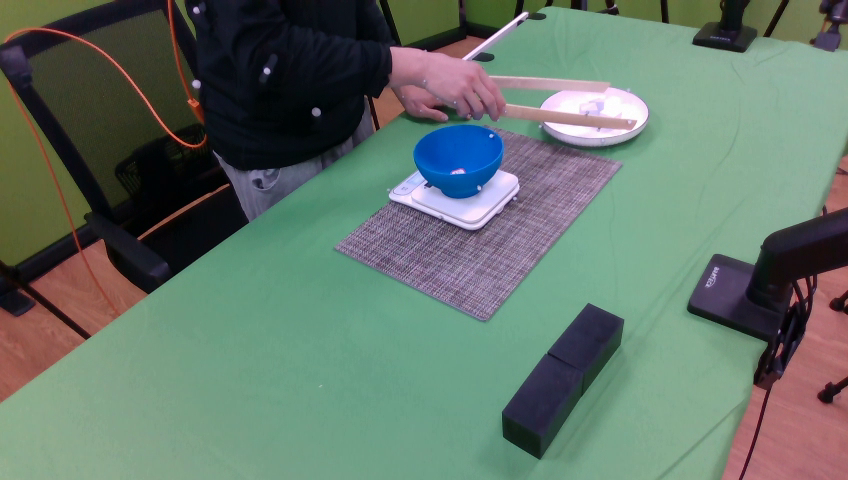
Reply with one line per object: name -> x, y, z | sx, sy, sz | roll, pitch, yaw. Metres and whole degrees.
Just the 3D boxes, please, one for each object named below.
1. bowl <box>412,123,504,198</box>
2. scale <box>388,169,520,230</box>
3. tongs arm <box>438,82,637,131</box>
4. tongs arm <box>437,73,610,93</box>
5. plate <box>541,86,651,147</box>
bowl -> 0.060, -0.123, 1.007 | 0.151, 0.077, 0.150 | -5, 41, 5
scale -> 0.050, -0.090, 1.052 | 0.199, 0.032, 0.149 | 24, 49, 31
tongs arm -> 0.209, -0.231, 1.060 | 0.387, 0.026, 0.050 | 0, 53, -24
tongs arm -> 0.192, -0.280, 1.095 | 0.390, 0.028, 0.028 | -6, 59, -29
plate -> 0.333, -0.239, 1.186 | 0.207, 0.039, 0.206 | -4, 41, 4
